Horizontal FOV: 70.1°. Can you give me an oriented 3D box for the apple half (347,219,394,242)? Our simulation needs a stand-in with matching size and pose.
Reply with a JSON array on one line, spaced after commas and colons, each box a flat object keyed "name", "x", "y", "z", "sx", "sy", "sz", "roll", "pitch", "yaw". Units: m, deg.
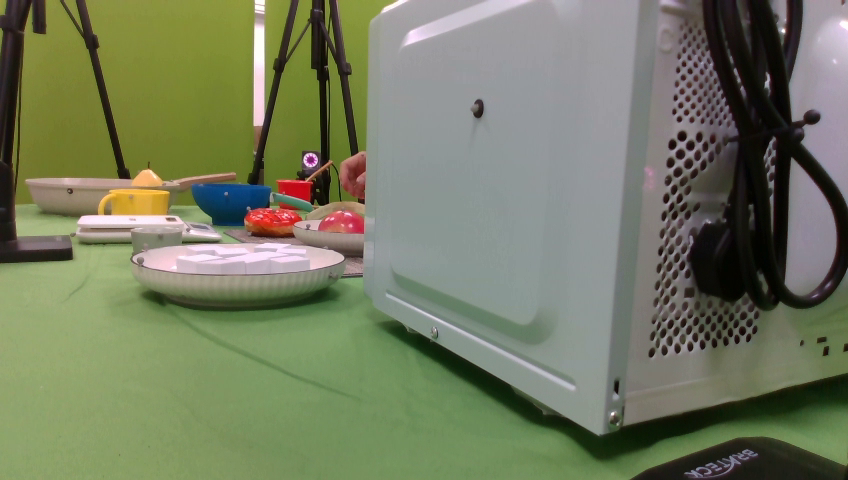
[{"name": "apple half", "x": -0.084, "y": -0.018, "z": 0.967, "sx": 0.081, "sy": 0.033, "sz": 0.081, "roll": 6, "pitch": 10, "yaw": -1}]

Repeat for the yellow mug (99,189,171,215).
[{"name": "yellow mug", "x": -0.519, "y": -0.055, "z": 1.080, "sx": 0.099, "sy": 0.064, "sz": 0.131, "roll": 7, "pitch": 9, "yaw": 26}]

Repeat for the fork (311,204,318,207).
[{"name": "fork", "x": -0.356, "y": -0.105, "z": 1.526, "sx": 0.208, "sy": 0.018, "sz": 0.028, "roll": 16, "pitch": -5, "yaw": -41}]

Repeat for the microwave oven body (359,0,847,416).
[{"name": "microwave oven body", "x": 0.211, "y": -0.047, "z": 0.474, "sx": 0.444, "sy": 0.260, "sz": 0.324, "roll": -1, "pitch": 7, "yaw": -28}]

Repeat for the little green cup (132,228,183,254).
[{"name": "little green cup", "x": -0.342, "y": 0.006, "z": 0.779, "sx": 0.061, "sy": 0.038, "sz": 0.061, "roll": 2, "pitch": 8, "yaw": 0}]

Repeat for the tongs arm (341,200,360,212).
[{"name": "tongs arm", "x": -0.149, "y": -0.069, "z": 1.429, "sx": 0.051, "sy": 0.026, "sz": 0.383, "roll": -3, "pitch": 8, "yaw": -15}]

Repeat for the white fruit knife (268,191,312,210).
[{"name": "white fruit knife", "x": -0.364, "y": -0.105, "z": 1.464, "sx": 0.208, "sy": 0.027, "sz": 0.016, "roll": 15, "pitch": 0, "yaw": -34}]

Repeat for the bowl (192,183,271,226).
[{"name": "bowl", "x": -0.382, "y": -0.071, "z": 1.202, "sx": 0.151, "sy": 0.077, "sz": 0.151, "roll": 3, "pitch": 7, "yaw": 0}]

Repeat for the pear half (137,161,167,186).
[{"name": "pear half", "x": -0.602, "y": -0.120, "z": 1.354, "sx": 0.056, "sy": 0.110, "sz": 0.076, "roll": 4, "pitch": 11, "yaw": 6}]

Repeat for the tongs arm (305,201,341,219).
[{"name": "tongs arm", "x": -0.236, "y": -0.069, "z": 1.414, "sx": 0.028, "sy": 0.028, "sz": 0.387, "roll": -4, "pitch": 7, "yaw": 1}]

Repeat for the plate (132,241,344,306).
[{"name": "plate", "x": -0.187, "y": 0.033, "z": 0.625, "sx": 0.208, "sy": 0.039, "sz": 0.207, "roll": 2, "pitch": 8, "yaw": 0}]

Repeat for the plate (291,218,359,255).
[{"name": "plate", "x": -0.098, "y": -0.007, "z": 0.928, "sx": 0.209, "sy": 0.038, "sz": 0.209, "roll": 2, "pitch": 8, "yaw": 0}]

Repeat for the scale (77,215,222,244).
[{"name": "scale", "x": -0.434, "y": -0.019, "z": 0.963, "sx": 0.202, "sy": 0.031, "sz": 0.148, "roll": -1, "pitch": 9, "yaw": -27}]

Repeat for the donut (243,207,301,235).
[{"name": "donut", "x": -0.261, "y": -0.032, "z": 1.043, "sx": 0.099, "sy": 0.048, "sz": 0.099, "roll": 4, "pitch": 9, "yaw": 0}]

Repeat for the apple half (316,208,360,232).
[{"name": "apple half", "x": -0.122, "y": -0.020, "z": 0.901, "sx": 0.080, "sy": 0.053, "sz": 0.075, "roll": 4, "pitch": 11, "yaw": 20}]

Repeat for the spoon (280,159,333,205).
[{"name": "spoon", "x": -0.317, "y": -0.159, "z": 1.640, "sx": 0.194, "sy": 0.022, "sz": 0.041, "roll": -49, "pitch": 32, "yaw": -20}]

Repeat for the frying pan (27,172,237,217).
[{"name": "frying pan", "x": -0.624, "y": -0.118, "z": 1.387, "sx": 0.305, "sy": 0.102, "sz": 0.490, "roll": 8, "pitch": 17, "yaw": 32}]

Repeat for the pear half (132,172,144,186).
[{"name": "pear half", "x": -0.638, "y": -0.113, "z": 1.361, "sx": 0.031, "sy": 0.088, "sz": 0.070, "roll": 5, "pitch": 10, "yaw": 4}]

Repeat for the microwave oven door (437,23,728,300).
[{"name": "microwave oven door", "x": 0.180, "y": -0.072, "z": 0.621, "sx": 0.358, "sy": 0.243, "sz": 0.039, "roll": -2, "pitch": 8, "yaw": -29}]

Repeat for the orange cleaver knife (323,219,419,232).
[{"name": "orange cleaver knife", "x": -0.096, "y": -0.027, "z": 1.152, "sx": 0.077, "sy": 0.012, "sz": 0.212, "roll": 1, "pitch": 7, "yaw": 41}]

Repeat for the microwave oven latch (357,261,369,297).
[{"name": "microwave oven latch", "x": -0.019, "y": 0.033, "z": 0.530, "sx": 0.079, "sy": 0.029, "sz": 0.030, "roll": -1, "pitch": 7, "yaw": -26}]
